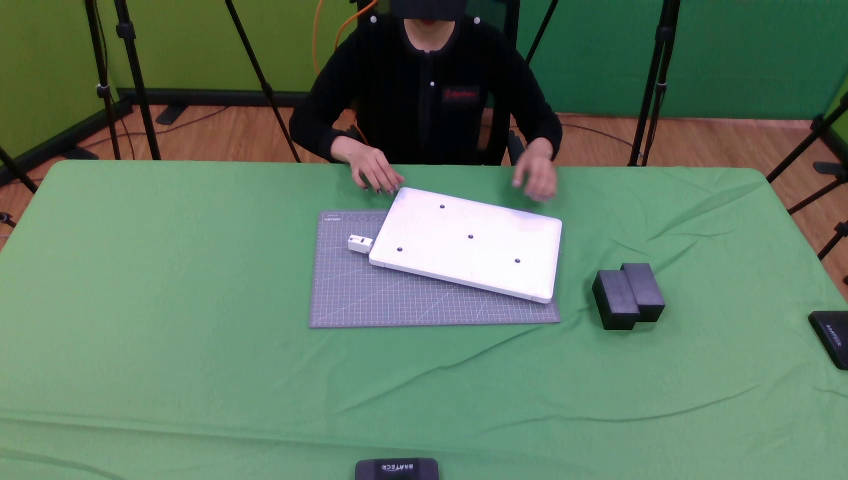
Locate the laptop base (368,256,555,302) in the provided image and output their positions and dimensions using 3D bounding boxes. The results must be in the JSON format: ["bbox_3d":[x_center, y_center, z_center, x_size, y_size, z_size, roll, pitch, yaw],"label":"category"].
[{"bbox_3d":[0.089,0.005,1.205,0.354,0.023,0.234,12,42,8],"label":"laptop base"}]

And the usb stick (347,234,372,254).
[{"bbox_3d":[-0.117,0.009,1.166,0.059,0.027,0.021,15,45,8],"label":"usb stick"}]

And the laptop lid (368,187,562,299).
[{"bbox_3d":[0.090,-0.005,1.198,0.356,0.013,0.240,14,43,9],"label":"laptop lid"}]
